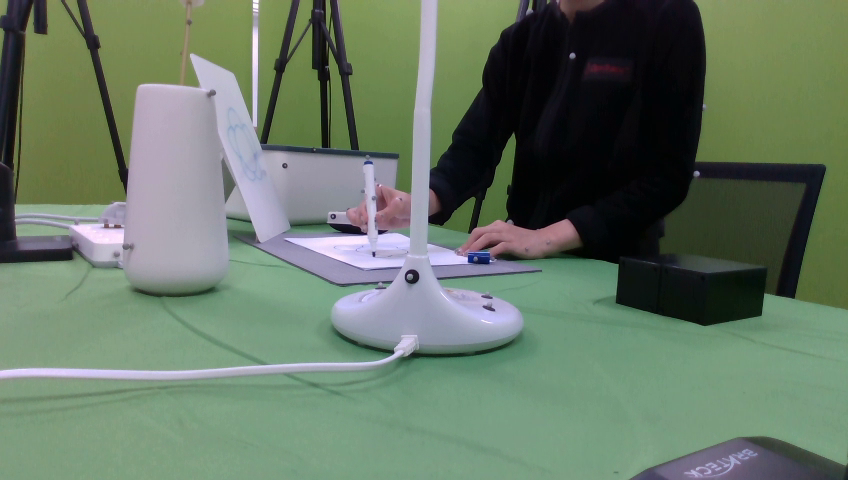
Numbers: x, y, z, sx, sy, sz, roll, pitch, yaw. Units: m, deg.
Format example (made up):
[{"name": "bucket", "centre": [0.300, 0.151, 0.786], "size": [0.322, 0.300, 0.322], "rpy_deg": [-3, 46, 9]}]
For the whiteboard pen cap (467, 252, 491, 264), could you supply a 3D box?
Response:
[{"name": "whiteboard pen cap", "centre": [0.077, 0.025, 0.841], "size": [0.033, 0.018, 0.018], "rpy_deg": [1, 7, 4]}]

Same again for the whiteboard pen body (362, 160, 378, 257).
[{"name": "whiteboard pen body", "centre": [-0.076, -0.045, 0.861], "size": [0.017, 0.140, 0.017], "rpy_deg": [-5, -8, 0]}]

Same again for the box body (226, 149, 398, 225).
[{"name": "box body", "centre": [-0.265, -0.129, 1.380], "size": [0.253, 0.160, 0.366], "rpy_deg": [8, 9, 39]}]

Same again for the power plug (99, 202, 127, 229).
[{"name": "power plug", "centre": [-0.415, -0.026, 0.848], "size": [0.073, 0.052, 0.035], "rpy_deg": [6, 5, -28]}]

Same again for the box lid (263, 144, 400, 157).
[{"name": "box lid", "centre": [-0.263, -0.203, 1.369], "size": [0.262, 0.015, 0.373], "rpy_deg": [9, 10, 39]}]

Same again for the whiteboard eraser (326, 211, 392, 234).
[{"name": "whiteboard eraser", "centre": [-0.121, -0.033, 1.131], "size": [0.112, 0.042, 0.056], "rpy_deg": [4, 8, 13]}]

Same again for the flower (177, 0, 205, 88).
[{"name": "flower", "centre": [-0.243, -0.131, 0.609], "size": [0.044, 0.361, 0.038], "rpy_deg": [-5, -12, 12]}]

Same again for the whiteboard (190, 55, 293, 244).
[{"name": "whiteboard", "centre": [-0.362, -0.129, 1.029], "size": [0.144, 0.305, 0.217], "rpy_deg": [-18, 7, 3]}]

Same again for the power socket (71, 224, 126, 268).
[{"name": "power socket", "centre": [-0.409, 0.004, 0.793], "size": [0.072, 0.032, 0.225], "rpy_deg": [-2, 8, -37]}]

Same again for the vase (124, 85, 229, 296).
[{"name": "vase", "centre": [-0.244, -0.047, 0.598], "size": [0.098, 0.200, 0.098], "rpy_deg": [3, 8, 0]}]

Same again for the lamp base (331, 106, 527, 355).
[{"name": "lamp base", "centre": [0.006, -0.012, 0.478], "size": [0.161, 0.180, 0.179], "rpy_deg": [2, 10, 2]}]
